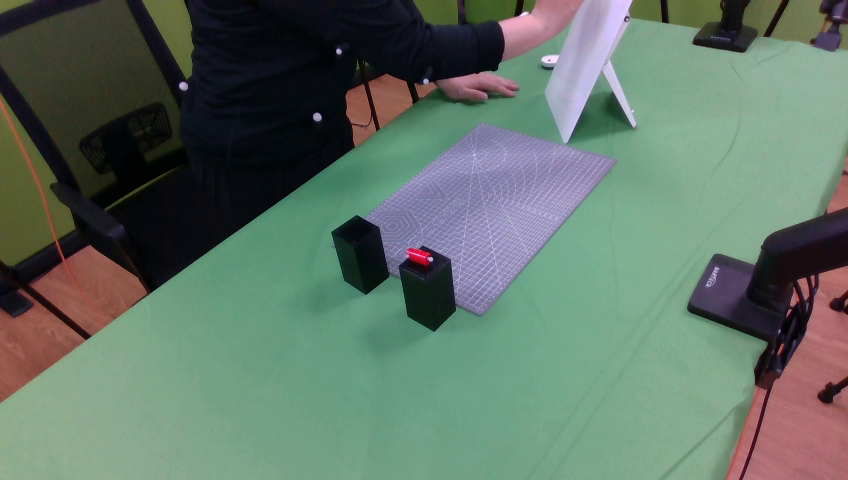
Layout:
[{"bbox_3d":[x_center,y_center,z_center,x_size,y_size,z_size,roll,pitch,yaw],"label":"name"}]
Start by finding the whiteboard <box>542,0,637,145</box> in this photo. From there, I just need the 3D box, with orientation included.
[{"bbox_3d":[0.366,-0.351,1.160,0.144,0.305,0.216,10,39,-10],"label":"whiteboard"}]

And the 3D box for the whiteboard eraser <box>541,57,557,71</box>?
[{"bbox_3d":[0.324,-0.412,1.408,0.101,0.019,0.041,2,43,11],"label":"whiteboard eraser"}]

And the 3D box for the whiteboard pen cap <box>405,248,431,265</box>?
[{"bbox_3d":[-0.008,0.021,0.794,0.032,0.017,0.017,16,45,28],"label":"whiteboard pen cap"}]
